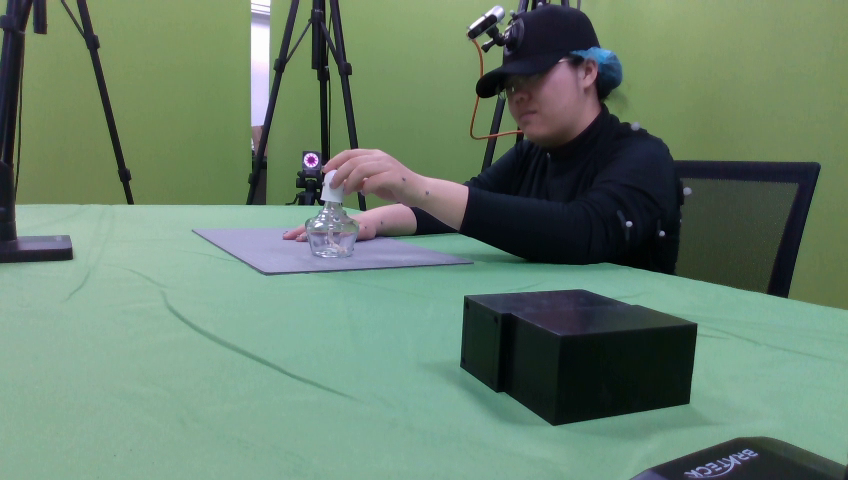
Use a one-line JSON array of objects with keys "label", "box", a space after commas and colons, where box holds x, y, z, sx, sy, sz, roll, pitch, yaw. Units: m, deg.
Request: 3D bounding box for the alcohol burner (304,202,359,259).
[{"label": "alcohol burner", "box": [-0.130, -0.034, 0.851, 0.078, 0.119, 0.078, 2, 5, 0]}]

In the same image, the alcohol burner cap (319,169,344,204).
[{"label": "alcohol burner cap", "box": [-0.128, -0.076, 0.847, 0.034, 0.048, 0.034, 8, 5, 0]}]
